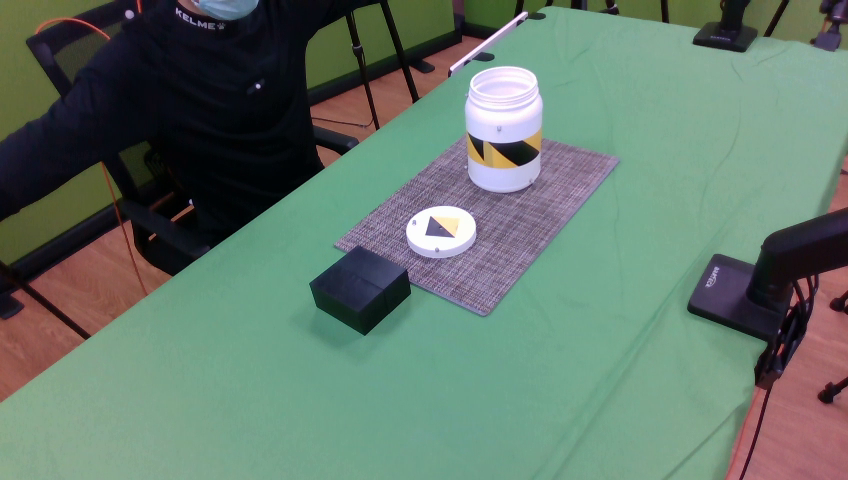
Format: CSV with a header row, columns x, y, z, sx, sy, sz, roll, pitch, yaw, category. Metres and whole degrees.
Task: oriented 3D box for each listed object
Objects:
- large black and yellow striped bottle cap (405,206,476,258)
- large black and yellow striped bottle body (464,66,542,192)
x,y,z,sx,sy,sz,roll,pitch,yaw,category
0.027,-0.015,0.981,0.115,0.019,0.114,-3,41,3,large black and yellow striped bottle cap
0.137,-0.190,1.040,0.131,0.185,0.130,-4,41,4,large black and yellow striped bottle body
